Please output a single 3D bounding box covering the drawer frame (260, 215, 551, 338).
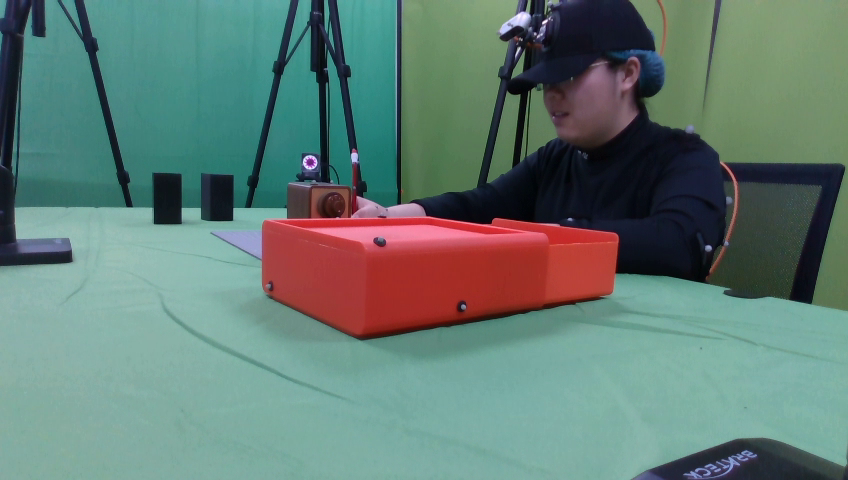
[{"bbox_3d":[-0.021,0.024,0.595,0.215,0.082,0.200,-4,10,-38],"label":"drawer frame"}]

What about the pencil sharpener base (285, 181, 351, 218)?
[{"bbox_3d":[-0.139,-0.021,0.789,0.062,0.107,0.076,-2,9,-36],"label":"pencil sharpener base"}]

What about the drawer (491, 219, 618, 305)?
[{"bbox_3d":[0.071,0.021,0.670,0.213,0.073,0.193,-3,10,-39],"label":"drawer"}]

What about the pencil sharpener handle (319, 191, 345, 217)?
[{"bbox_3d":[-0.107,-0.026,0.748,0.036,0.067,0.030,-6,11,-36],"label":"pencil sharpener handle"}]

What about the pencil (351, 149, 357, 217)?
[{"bbox_3d":[-0.122,-0.079,1.050,0.012,0.193,0.012,-3,-30,-1],"label":"pencil"}]
